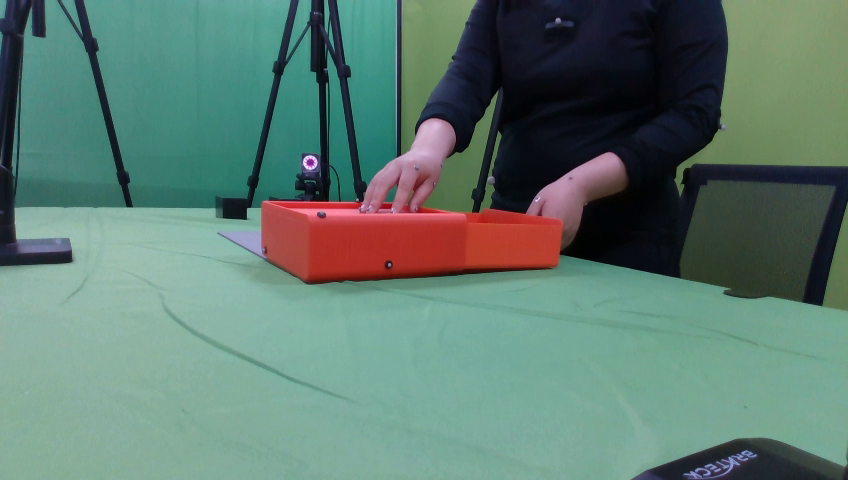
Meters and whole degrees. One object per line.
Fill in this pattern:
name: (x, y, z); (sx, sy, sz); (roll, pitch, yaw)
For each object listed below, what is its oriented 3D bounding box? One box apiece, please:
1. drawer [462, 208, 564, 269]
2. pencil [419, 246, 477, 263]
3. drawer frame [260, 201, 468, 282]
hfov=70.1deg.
drawer: (0.058, -0.006, 0.879); (0.213, 0.073, 0.193); (0, 9, -31)
pencil: (0.040, 0.018, 0.877); (0.012, 0.012, 0.195); (6, 7, 26)
drawer frame: (-0.084, -0.006, 0.794); (0.215, 0.082, 0.200); (-2, 9, -30)
